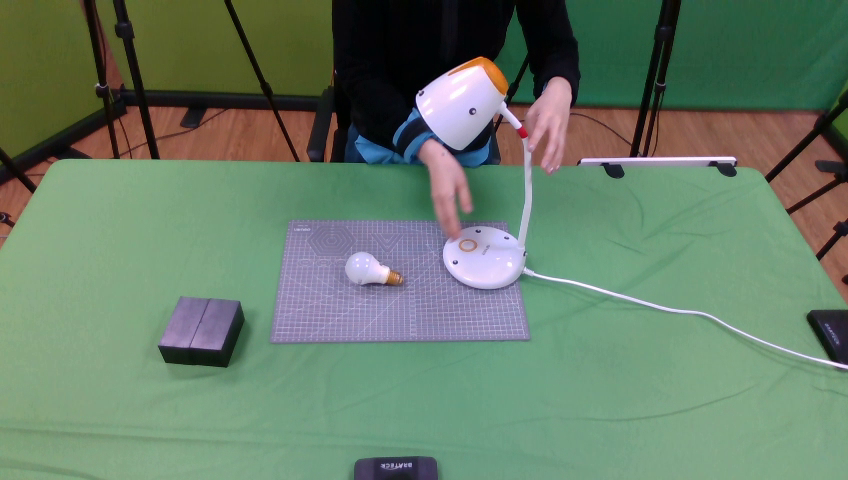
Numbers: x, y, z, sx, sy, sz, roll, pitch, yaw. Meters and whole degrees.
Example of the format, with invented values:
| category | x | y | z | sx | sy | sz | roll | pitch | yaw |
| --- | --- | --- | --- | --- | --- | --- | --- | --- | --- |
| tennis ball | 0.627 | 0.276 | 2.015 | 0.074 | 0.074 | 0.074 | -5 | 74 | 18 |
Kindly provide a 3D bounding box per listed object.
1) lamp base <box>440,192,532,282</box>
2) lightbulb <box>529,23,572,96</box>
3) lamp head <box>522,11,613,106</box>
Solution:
| category | x | y | z | sx | sy | sz | roll | pitch | yaw |
| --- | --- | --- | --- | --- | --- | --- | --- | --- | --- |
| lamp base | 0.127 | -0.032 | 1.123 | 0.179 | 0.181 | 0.159 | 10 | 46 | 2 |
| lightbulb | 0.184 | -0.259 | 0.877 | 0.059 | 0.108 | 0.059 | -8 | 41 | 7 |
| lamp head | 0.217 | -0.249 | 0.886 | 0.112 | 0.123 | 0.111 | -25 | 46 | 30 |
